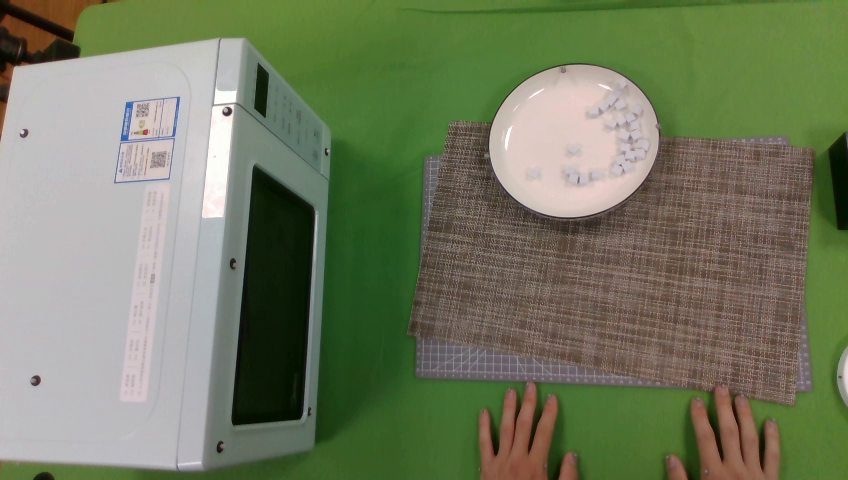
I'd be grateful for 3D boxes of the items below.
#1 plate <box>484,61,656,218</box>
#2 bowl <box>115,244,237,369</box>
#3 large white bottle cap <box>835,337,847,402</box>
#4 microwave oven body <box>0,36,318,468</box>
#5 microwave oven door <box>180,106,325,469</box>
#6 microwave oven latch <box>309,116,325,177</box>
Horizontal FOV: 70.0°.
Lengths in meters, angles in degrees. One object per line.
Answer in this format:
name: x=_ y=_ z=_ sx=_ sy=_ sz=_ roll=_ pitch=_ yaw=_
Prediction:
plate: x=0.181 y=-0.124 z=0.766 sx=0.208 sy=0.038 sz=0.208 roll=-3 pitch=75 yaw=13
bowl: x=-0.290 y=0.086 z=0.749 sx=0.151 sy=0.077 sz=0.150 roll=-3 pitch=76 yaw=13
large white bottle cap: x=0.501 y=0.142 z=0.639 sx=0.114 sy=0.018 sz=0.114 roll=-3 pitch=77 yaw=12
microwave oven body: x=-0.321 y=0.029 z=0.737 sx=0.325 sy=0.262 sz=0.439 roll=-3 pitch=77 yaw=13
microwave oven door: x=-0.181 y=0.061 z=0.690 sx=0.039 sy=0.245 sz=0.354 roll=-3 pitch=76 yaw=14
microwave oven latch: x=-0.152 y=-0.128 z=0.834 sx=0.030 sy=0.030 sz=0.079 roll=-3 pitch=77 yaw=13
